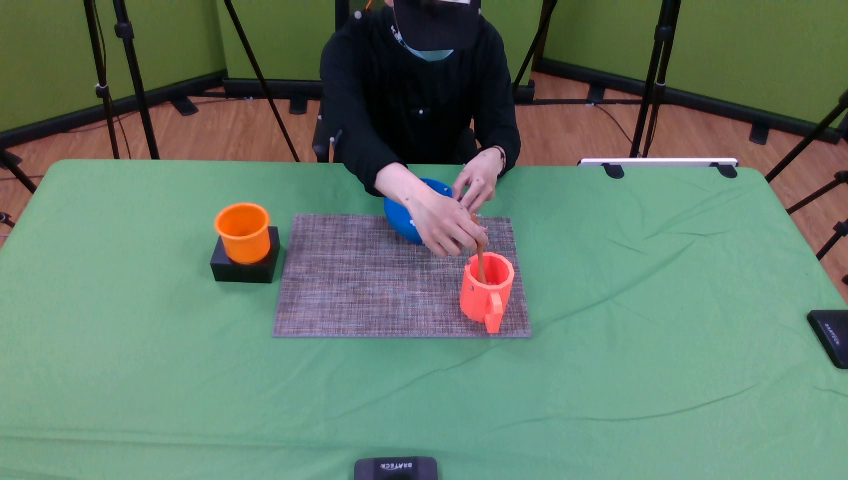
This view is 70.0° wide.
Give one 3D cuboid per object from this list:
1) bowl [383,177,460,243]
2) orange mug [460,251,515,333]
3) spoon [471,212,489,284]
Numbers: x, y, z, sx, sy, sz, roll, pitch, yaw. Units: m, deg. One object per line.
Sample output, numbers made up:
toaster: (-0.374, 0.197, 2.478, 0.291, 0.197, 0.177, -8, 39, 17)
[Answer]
bowl: (-0.006, -0.047, 1.197, 0.151, 0.077, 0.150, 2, 46, -2)
orange mug: (0.114, 0.095, 1.053, 0.083, 0.101, 0.125, -5, 41, -8)
spoon: (0.095, 0.033, 1.021, 0.041, 0.194, 0.021, 17, 40, 36)
